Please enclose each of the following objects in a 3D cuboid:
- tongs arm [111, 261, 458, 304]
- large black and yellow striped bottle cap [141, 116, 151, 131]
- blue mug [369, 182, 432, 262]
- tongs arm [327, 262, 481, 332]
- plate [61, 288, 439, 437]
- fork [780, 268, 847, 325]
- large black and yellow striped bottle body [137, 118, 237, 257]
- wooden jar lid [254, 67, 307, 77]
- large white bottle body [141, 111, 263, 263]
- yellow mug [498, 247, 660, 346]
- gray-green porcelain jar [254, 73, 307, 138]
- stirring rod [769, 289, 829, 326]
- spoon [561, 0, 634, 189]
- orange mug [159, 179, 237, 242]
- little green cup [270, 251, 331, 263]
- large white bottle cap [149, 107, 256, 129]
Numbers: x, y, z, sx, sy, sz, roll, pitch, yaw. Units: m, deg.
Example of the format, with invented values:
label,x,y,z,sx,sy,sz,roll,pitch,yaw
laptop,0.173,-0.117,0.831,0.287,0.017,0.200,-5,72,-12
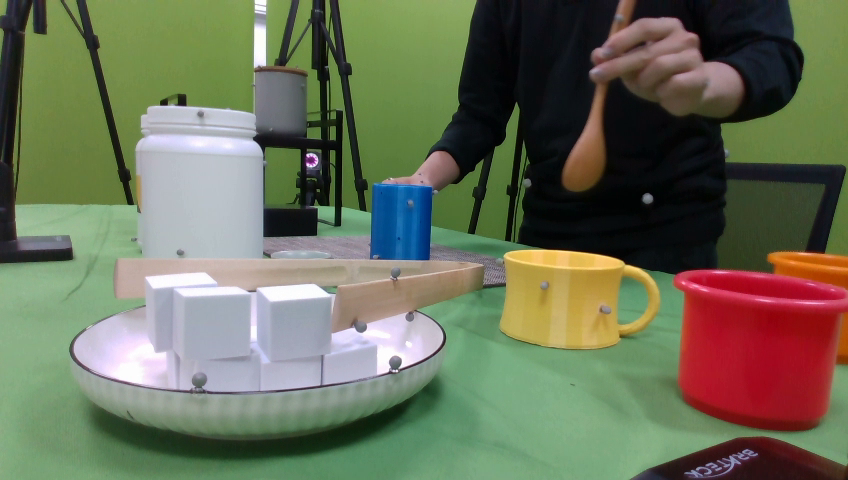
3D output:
label,x,y,z,sx,sy,sz,roll,pitch,yaw
tongs arm,-0.080,0.032,0.527,0.028,0.027,0.389,-3,-3,33
large black and yellow striped bottle cap,-0.328,-0.158,0.837,0.115,0.019,0.115,2,6,0
blue mug,-0.027,-0.026,0.837,0.082,0.106,0.117,4,7,17
tongs arm,-0.003,0.036,0.493,0.050,0.026,0.386,1,0,19
plate,-0.095,0.069,0.362,0.208,0.039,0.207,3,7,0
fork,0.324,0.018,0.441,0.028,0.018,0.207,-3,-36,-5
large black and yellow striped bottle body,-0.330,-0.075,0.849,0.131,0.184,0.130,2,8,0
wooden jar lid,-0.296,-0.339,1.251,0.108,0.020,0.108,1,7,0
large white bottle body,-0.254,-0.053,0.697,0.131,0.184,0.130,2,7,0
yellow mug,0.130,0.045,0.508,0.131,0.064,0.100,4,7,6
gray-green porcelain jar,-0.298,-0.277,1.259,0.106,0.126,0.106,3,7,0
stirring rod,0.349,0.022,0.468,0.014,0.006,0.175,-11,-27,-50
spoon,0.169,-0.142,0.579,0.042,0.193,0.021,8,11,-15
orange mug,-0.368,-0.051,0.991,0.127,0.101,0.083,-10,14,-41
little green cup,-0.129,0.034,0.629,0.061,0.038,0.061,2,6,0
large white bottle cap,-0.250,-0.137,0.686,0.115,0.018,0.115,2,8,0
